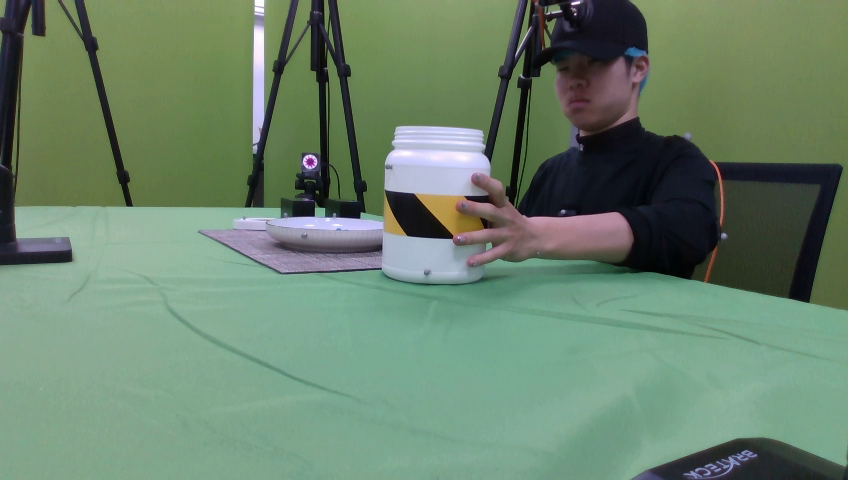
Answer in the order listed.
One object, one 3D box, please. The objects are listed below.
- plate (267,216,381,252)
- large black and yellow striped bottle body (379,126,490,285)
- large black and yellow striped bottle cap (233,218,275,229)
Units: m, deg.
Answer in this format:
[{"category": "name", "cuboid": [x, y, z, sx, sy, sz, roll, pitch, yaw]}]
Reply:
[{"category": "plate", "cuboid": [-0.145, -0.010, 0.967, 0.208, 0.039, 0.207, 2, 7, 0]}, {"category": "large black and yellow striped bottle body", "cuboid": [0.013, -0.044, 0.747, 0.131, 0.184, 0.130, 3, 7, 0]}, {"category": "large black and yellow striped bottle cap", "cuboid": [-0.311, -0.032, 1.172, 0.115, 0.019, 0.115, 1, 4, 0]}]
